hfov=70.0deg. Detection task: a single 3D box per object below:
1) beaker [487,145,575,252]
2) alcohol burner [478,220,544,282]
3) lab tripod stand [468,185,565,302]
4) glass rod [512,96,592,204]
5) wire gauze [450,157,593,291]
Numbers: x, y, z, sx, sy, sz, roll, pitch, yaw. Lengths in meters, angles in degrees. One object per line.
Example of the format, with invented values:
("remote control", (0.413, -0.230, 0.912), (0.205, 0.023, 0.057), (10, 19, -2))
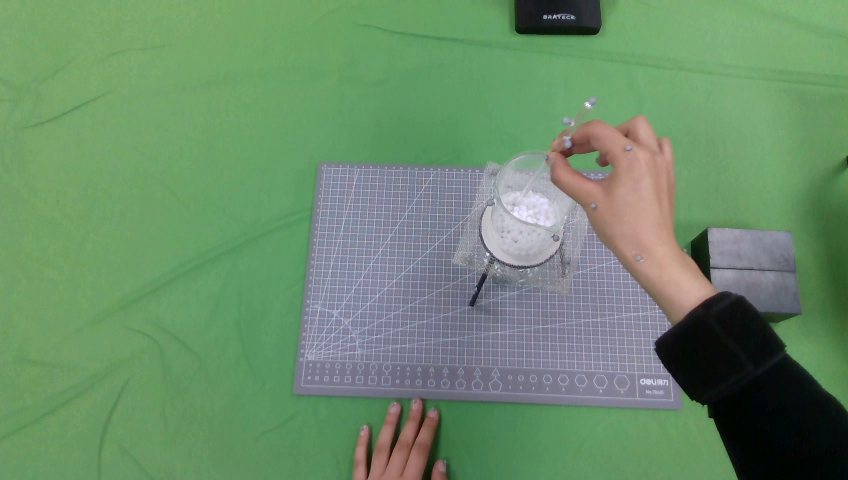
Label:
("beaker", (0.100, -0.032, 0.582), (0.074, 0.101, 0.083), (-25, 73, -7))
("alcohol burner", (0.102, 0.008, 0.699), (0.078, 0.120, 0.077), (-1, 73, 2))
("lab tripod stand", (0.098, 0.001, 0.692), (0.148, 0.132, 0.147), (-1, 72, 2))
("glass rod", (0.106, -0.071, 0.533), (0.008, 0.200, 0.008), (3, 71, -8))
("wire gauze", (0.103, -0.018, 0.628), (0.121, 0.011, 0.124), (19, 71, 5))
